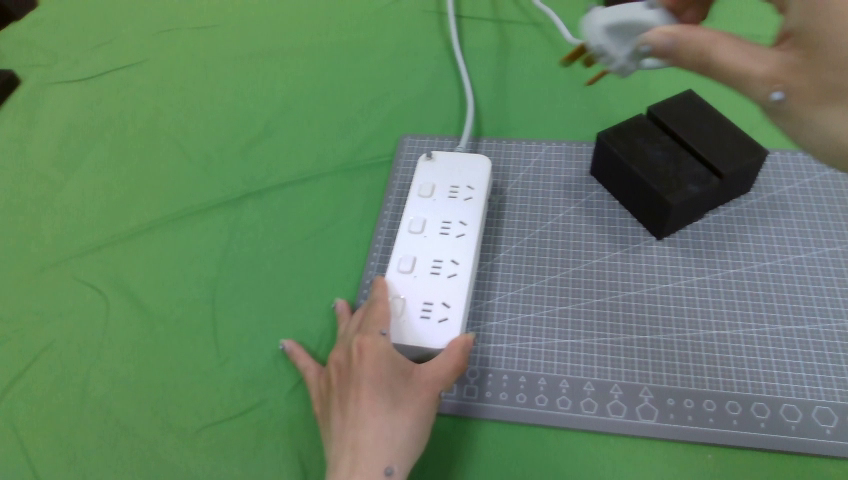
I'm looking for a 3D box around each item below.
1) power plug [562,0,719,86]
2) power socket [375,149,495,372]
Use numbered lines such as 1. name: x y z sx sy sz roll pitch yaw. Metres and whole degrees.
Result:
1. power plug: 0.107 -0.087 0.301 0.073 0.052 0.035 33 49 -25
2. power socket: 0.014 0.005 0.526 0.072 0.033 0.225 7 54 10
